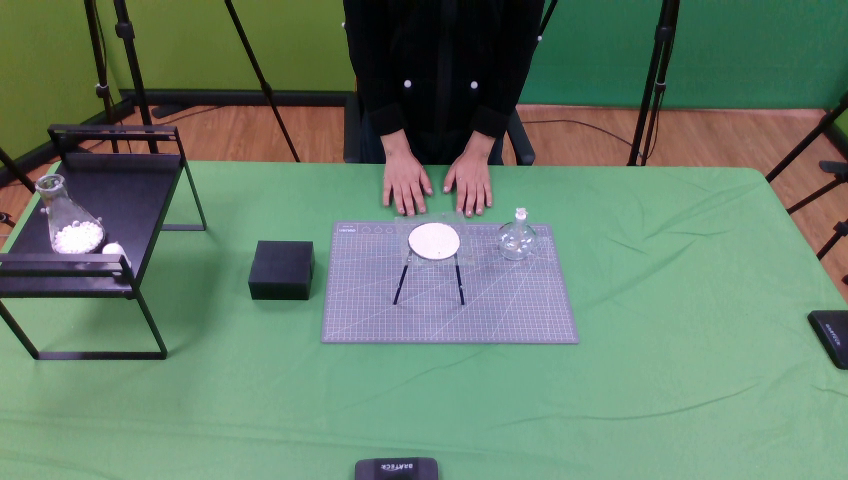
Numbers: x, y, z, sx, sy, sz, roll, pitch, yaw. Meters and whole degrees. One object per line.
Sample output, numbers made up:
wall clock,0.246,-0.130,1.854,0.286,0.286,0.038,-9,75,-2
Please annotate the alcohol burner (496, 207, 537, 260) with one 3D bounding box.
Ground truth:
alcohol burner,0.180,-0.018,1.162,0.078,0.120,0.077,1,48,-1

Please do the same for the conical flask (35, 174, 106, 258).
conical flask,-0.518,-0.038,0.875,0.075,0.122,0.075,2,46,-2

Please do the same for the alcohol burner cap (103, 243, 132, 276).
alcohol burner cap,-0.446,0.025,0.875,0.034,0.048,0.033,3,45,-3

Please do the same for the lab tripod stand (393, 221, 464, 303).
lab tripod stand,0.010,0.045,1.074,0.148,0.132,0.147,2,48,-2

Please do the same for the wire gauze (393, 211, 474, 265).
wire gauze,0.015,-0.003,1.028,0.125,0.011,0.120,-4,47,-7
